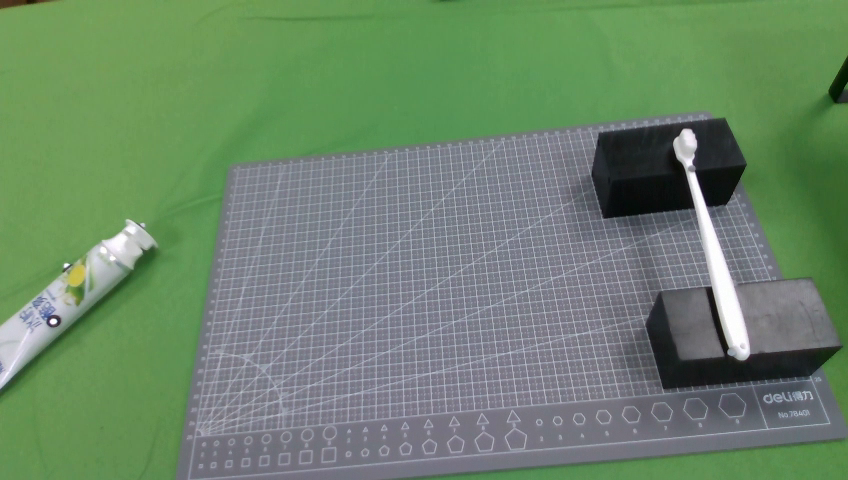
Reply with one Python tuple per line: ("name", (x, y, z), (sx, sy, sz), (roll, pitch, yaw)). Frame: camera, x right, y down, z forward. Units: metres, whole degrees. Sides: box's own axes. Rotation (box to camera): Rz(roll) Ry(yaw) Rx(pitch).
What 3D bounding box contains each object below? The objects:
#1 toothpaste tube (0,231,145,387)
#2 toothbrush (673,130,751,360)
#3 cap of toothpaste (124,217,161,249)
("toothpaste tube", (-0.299, 0.050, 0.498), (0.054, 0.035, 0.165), (33, 70, 33))
("toothbrush", (0.196, -0.005, 0.415), (0.014, 0.017, 0.180), (3, 58, -3))
("cap of toothpaste", (-0.243, -0.005, 0.520), (0.037, 0.038, 0.011), (25, 61, 22))
